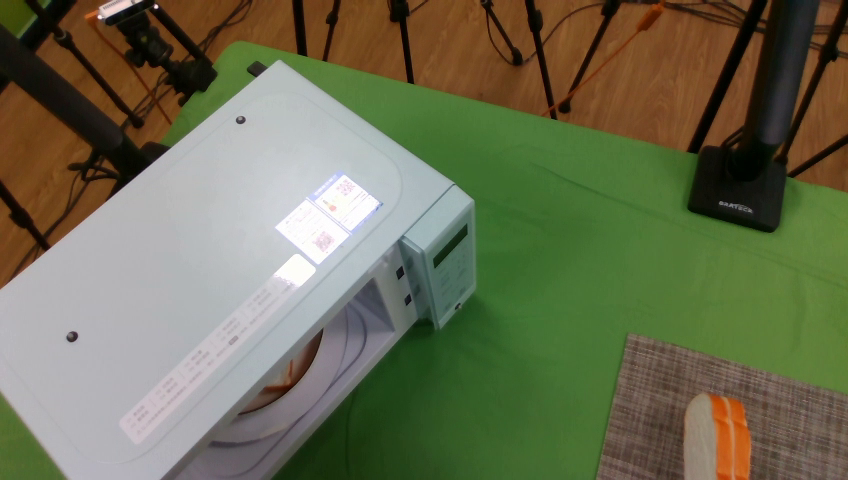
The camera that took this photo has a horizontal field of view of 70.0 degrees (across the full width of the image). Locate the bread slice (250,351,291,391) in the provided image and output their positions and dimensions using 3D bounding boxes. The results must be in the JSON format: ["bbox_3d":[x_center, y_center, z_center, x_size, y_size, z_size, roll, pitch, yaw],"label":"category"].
[{"bbox_3d":[-0.229,0.142,0.745,0.134,0.018,0.106,-7,60,-10],"label":"bread slice"}]

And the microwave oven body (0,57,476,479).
[{"bbox_3d":[-0.200,0.066,0.708,0.323,0.262,0.441,38,73,20],"label":"microwave oven body"}]

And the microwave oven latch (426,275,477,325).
[{"bbox_3d":[0.036,0.072,0.793,0.030,0.030,0.079,40,74,21],"label":"microwave oven latch"}]

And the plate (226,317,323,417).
[{"bbox_3d":[-0.227,0.117,0.749,0.208,0.039,0.206,0,61,0],"label":"plate"}]
